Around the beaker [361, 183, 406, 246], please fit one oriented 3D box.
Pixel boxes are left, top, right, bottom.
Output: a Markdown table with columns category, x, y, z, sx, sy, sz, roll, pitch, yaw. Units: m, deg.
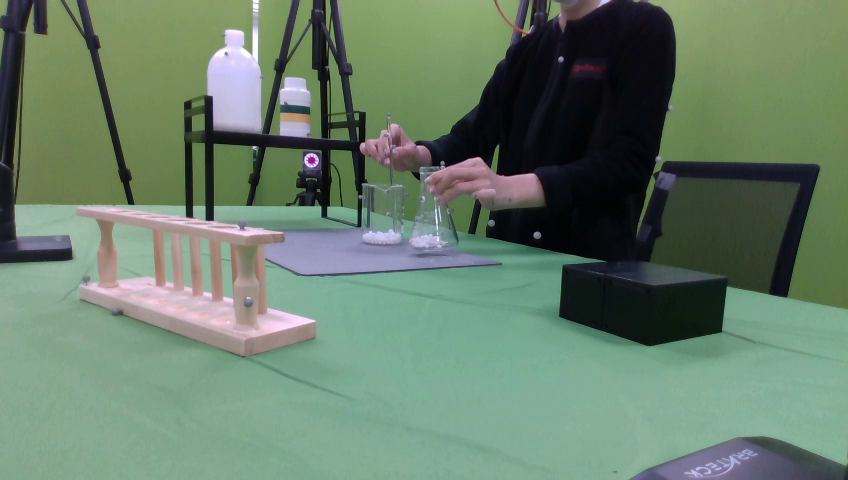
| category | x | y | z | sx | sy | sz | roll | pitch | yaw |
| --- | --- | --- | --- | --- | --- | --- | --- | --- | --- |
| beaker | -0.067 | -0.042 | 0.993 | 0.074 | 0.100 | 0.084 | 1 | 8 | -8 |

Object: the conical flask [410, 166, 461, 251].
| category | x | y | z | sx | sy | sz | roll | pitch | yaw |
| --- | --- | --- | --- | --- | --- | --- | --- | --- | --- |
| conical flask | 0.014 | -0.047 | 0.882 | 0.075 | 0.122 | 0.075 | -2 | 6 | 1 |

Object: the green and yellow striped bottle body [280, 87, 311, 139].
| category | x | y | z | sx | sy | sz | roll | pitch | yaw |
| --- | --- | --- | --- | --- | --- | --- | --- | --- | --- |
| green and yellow striped bottle body | -0.269 | -0.274 | 1.266 | 0.063 | 0.119 | 0.063 | 3 | 7 | 0 |

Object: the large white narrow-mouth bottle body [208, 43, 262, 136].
| category | x | y | z | sx | sy | sz | roll | pitch | yaw |
| --- | --- | --- | --- | --- | --- | --- | --- | --- | --- |
| large white narrow-mouth bottle body | -0.368 | -0.304 | 1.181 | 0.102 | 0.194 | 0.101 | 2 | 9 | 0 |

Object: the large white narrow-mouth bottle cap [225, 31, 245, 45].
| category | x | y | z | sx | sy | sz | roll | pitch | yaw |
| --- | --- | --- | --- | --- | --- | --- | --- | --- | --- |
| large white narrow-mouth bottle cap | -0.365 | -0.388 | 1.166 | 0.038 | 0.024 | 0.037 | 3 | 9 | 0 |

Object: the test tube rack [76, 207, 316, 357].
| category | x | y | z | sx | sy | sz | roll | pitch | yaw |
| --- | --- | --- | --- | --- | --- | --- | --- | --- | --- |
| test tube rack | -0.196 | 0.023 | 0.500 | 0.241 | 0.085 | 0.067 | 8 | 9 | 36 |

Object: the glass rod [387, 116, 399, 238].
| category | x | y | z | sx | sy | sz | roll | pitch | yaw |
| --- | --- | --- | --- | --- | --- | --- | --- | --- | --- |
| glass rod | -0.051 | -0.102 | 0.982 | 0.008 | 0.199 | 0.008 | -4 | 4 | 1 |

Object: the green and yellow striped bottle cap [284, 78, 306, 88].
| category | x | y | z | sx | sy | sz | roll | pitch | yaw |
| --- | --- | --- | --- | --- | --- | --- | --- | --- | --- |
| green and yellow striped bottle cap | -0.268 | -0.325 | 1.259 | 0.045 | 0.020 | 0.045 | 5 | 8 | 0 |
